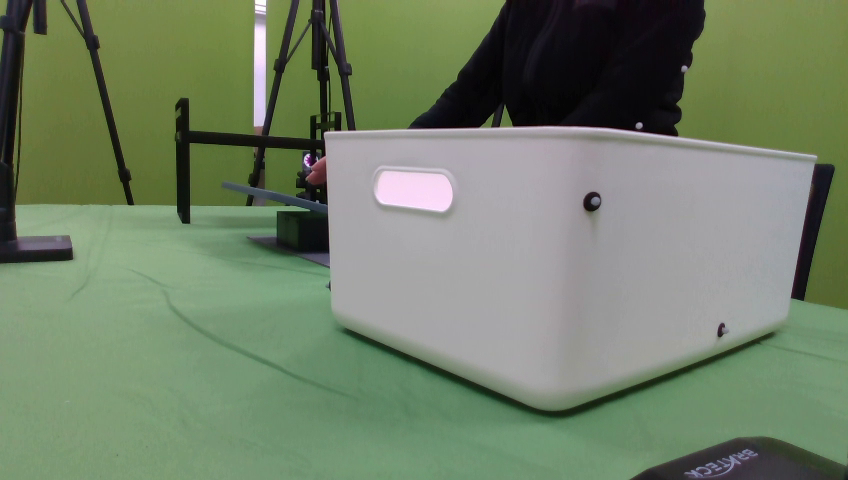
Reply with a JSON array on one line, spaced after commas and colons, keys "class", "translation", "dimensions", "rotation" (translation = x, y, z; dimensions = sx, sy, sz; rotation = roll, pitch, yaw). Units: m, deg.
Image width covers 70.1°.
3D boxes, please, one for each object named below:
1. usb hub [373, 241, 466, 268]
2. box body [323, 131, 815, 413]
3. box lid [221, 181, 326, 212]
[{"class": "usb hub", "translation": [-0.005, 0.019, 0.826], "dimensions": [0.126, 0.025, 0.049], "rotation": [-3, 8, -39]}, {"class": "box body", "translation": [0.125, 0.000, 0.510], "dimensions": [0.366, 0.160, 0.253], "rotation": [-4, 9, -41]}, {"class": "box lid", "translation": [-0.119, -0.040, 0.992], "dimensions": [0.374, 0.015, 0.262], "rotation": [13, 1, -35]}]
